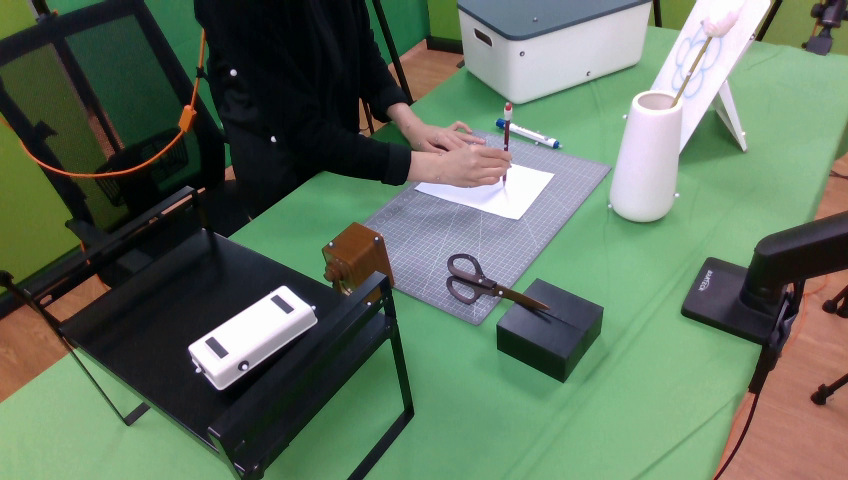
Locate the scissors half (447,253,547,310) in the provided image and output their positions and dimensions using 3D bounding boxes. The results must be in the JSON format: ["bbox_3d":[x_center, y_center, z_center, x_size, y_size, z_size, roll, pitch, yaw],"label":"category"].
[{"bbox_3d":[0.098,0.058,0.821,0.173,0.040,0.013,27,33,36],"label":"scissors half"}]

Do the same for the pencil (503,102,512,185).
[{"bbox_3d":[0.137,-0.152,0.998,0.012,0.195,0.012,-2,55,4],"label":"pencil"}]

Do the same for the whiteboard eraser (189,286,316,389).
[{"bbox_3d":[-0.166,0.096,0.593,0.113,0.042,0.055,-36,47,-29],"label":"whiteboard eraser"}]

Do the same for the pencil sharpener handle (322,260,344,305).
[{"bbox_3d":[-0.131,0.061,0.839,0.035,0.068,0.031,29,56,27],"label":"pencil sharpener handle"}]

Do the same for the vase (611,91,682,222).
[{"bbox_3d":[0.348,-0.125,0.935,0.098,0.201,0.097,-3,40,3],"label":"vase"}]

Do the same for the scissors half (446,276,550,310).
[{"bbox_3d":[0.098,0.077,0.827,0.174,0.040,0.013,6,14,44],"label":"scissors half"}]

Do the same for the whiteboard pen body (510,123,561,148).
[{"bbox_3d":[0.208,-0.211,1.196,0.139,0.017,0.017,30,52,33],"label":"whiteboard pen body"}]

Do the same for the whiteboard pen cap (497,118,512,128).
[{"bbox_3d":[0.165,-0.235,1.227,0.033,0.018,0.018,31,53,31],"label":"whiteboard pen cap"}]

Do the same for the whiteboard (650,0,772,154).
[{"bbox_3d":[0.543,-0.298,1.076,0.144,0.305,0.216,12,40,-7],"label":"whiteboard"}]

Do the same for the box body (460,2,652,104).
[{"bbox_3d":[0.291,-0.465,1.371,0.365,0.161,0.252,-22,42,-16],"label":"box body"}]

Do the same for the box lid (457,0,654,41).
[{"bbox_3d":[0.285,-0.522,1.323,0.373,0.015,0.261,-22,43,-16],"label":"box lid"}]

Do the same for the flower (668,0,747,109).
[{"bbox_3d":[0.354,-0.187,0.879,0.038,0.362,0.044,30,48,14],"label":"flower"}]

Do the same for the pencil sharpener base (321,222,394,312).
[{"bbox_3d":[-0.096,0.041,0.873,0.061,0.107,0.077,25,54,32],"label":"pencil sharpener base"}]
